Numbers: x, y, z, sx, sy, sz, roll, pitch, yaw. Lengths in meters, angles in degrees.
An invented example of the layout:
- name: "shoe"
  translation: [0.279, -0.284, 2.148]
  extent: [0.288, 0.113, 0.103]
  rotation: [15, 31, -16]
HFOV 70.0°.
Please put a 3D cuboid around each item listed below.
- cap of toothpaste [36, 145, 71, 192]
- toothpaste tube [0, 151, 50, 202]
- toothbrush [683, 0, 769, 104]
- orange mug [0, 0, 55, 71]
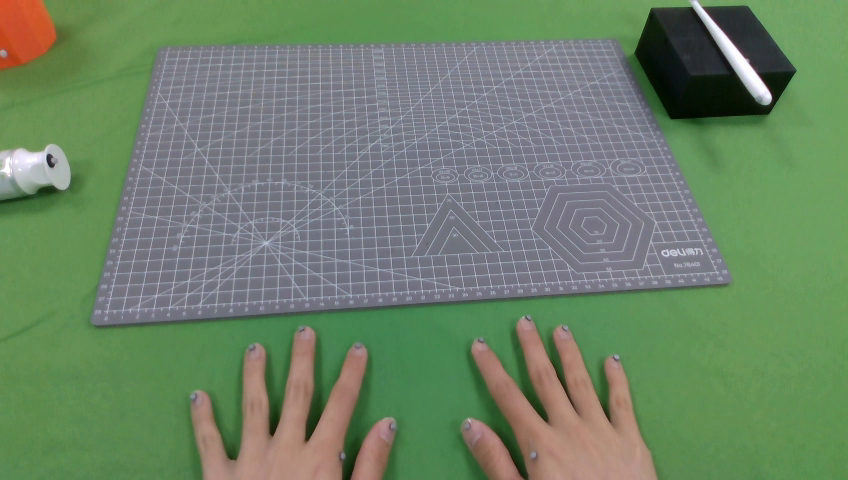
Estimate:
- name: "cap of toothpaste"
  translation: [-0.279, -0.054, 0.455]
  extent: [0.011, 0.037, 0.037]
  rotation: [-10, 54, -7]
- name: "toothpaste tube"
  translation: [-0.357, -0.042, 0.449]
  extent: [0.165, 0.035, 0.054]
  rotation: [-10, 50, -6]
- name: "toothbrush"
  translation: [0.263, -0.185, 0.544]
  extent: [0.014, 0.017, 0.180]
  rotation: [-3, 54, -11]
- name: "orange mug"
  translation: [-0.401, -0.203, 0.521]
  extent: [0.083, 0.101, 0.126]
  rotation: [31, 53, 18]
